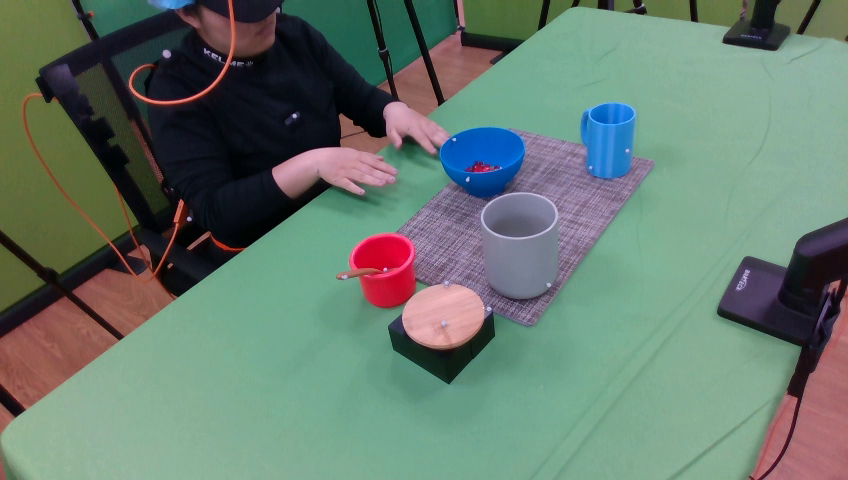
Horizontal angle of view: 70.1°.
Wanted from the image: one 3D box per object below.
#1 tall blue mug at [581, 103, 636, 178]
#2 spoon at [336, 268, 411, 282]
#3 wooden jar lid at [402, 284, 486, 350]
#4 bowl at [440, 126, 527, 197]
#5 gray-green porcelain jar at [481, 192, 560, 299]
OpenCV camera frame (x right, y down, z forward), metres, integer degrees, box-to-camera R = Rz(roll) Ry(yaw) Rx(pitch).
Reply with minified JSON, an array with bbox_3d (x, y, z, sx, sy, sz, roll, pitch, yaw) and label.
[{"bbox_3d":[0.313,-0.178,1.062,0.106,0.108,0.078,21,50,31],"label":"tall blue mug"},{"bbox_3d":[-0.071,0.047,0.850,0.041,0.195,0.021,18,93,24],"label":"spoon"},{"bbox_3d":[0.026,0.101,0.786,0.108,0.021,0.108,-5,39,4],"label":"wooden jar lid"},{"bbox_3d":[0.107,-0.130,1.070,0.151,0.077,0.150,-5,40,5],"label":"bowl"},{"bbox_3d":[0.138,0.012,0.858,0.106,0.127,0.105,-6,40,5],"label":"gray-green porcelain jar"}]
